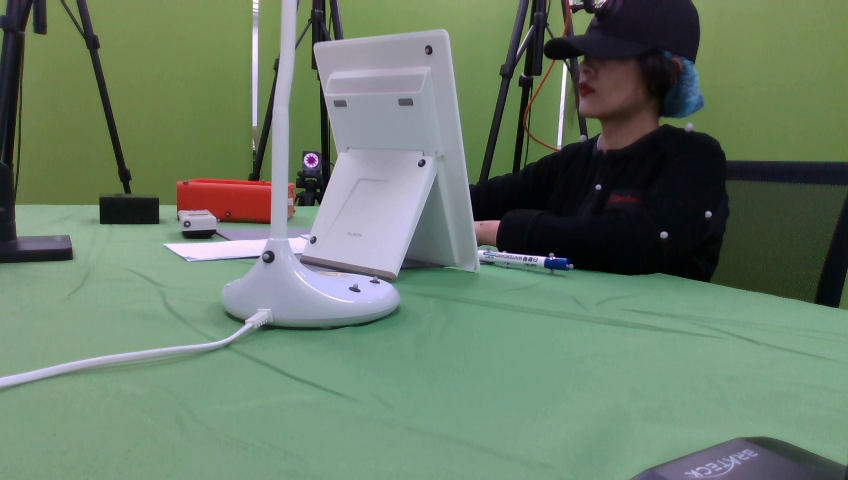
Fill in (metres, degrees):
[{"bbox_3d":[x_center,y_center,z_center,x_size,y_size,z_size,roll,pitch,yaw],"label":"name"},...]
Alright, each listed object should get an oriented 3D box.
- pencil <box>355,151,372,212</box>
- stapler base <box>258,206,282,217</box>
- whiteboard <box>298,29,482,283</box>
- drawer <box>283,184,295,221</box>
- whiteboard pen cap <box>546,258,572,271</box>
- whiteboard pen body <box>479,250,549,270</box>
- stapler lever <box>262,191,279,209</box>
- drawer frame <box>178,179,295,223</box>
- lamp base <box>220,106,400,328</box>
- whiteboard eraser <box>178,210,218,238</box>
[{"bbox_3d":[-0.106,-0.105,1.056,0.012,0.012,0.193,3,38,1],"label":"pencil"},{"bbox_3d":[-0.331,-0.065,1.305,0.041,0.024,0.130,9,-2,-9],"label":"stapler base"},{"bbox_3d":[-0.075,-0.082,0.741,0.216,0.305,0.144,9,29,37],"label":"whiteboard"},{"bbox_3d":[-0.394,-0.087,1.317,0.212,0.073,0.194,1,8,-7],"label":"drawer"},{"bbox_3d":[0.175,0.032,0.790,0.033,0.018,0.018,3,7,37],"label":"whiteboard pen cap"},{"bbox_3d":[0.130,0.028,0.827,0.140,0.017,0.017,7,9,38],"label":"whiteboard pen body"},{"bbox_3d":[-0.329,-0.086,1.306,0.027,0.040,0.118,9,3,-9],"label":"stapler lever"},{"bbox_3d":[-0.397,-0.088,1.315,0.214,0.082,0.201,1,8,-7],"label":"drawer frame"},{"bbox_3d":[-0.101,-0.023,0.531,0.160,0.180,0.179,4,10,10],"label":"lamp base"},{"bbox_3d":[-0.380,-0.027,1.014,0.056,0.042,0.112,0,8,-25],"label":"whiteboard eraser"}]
